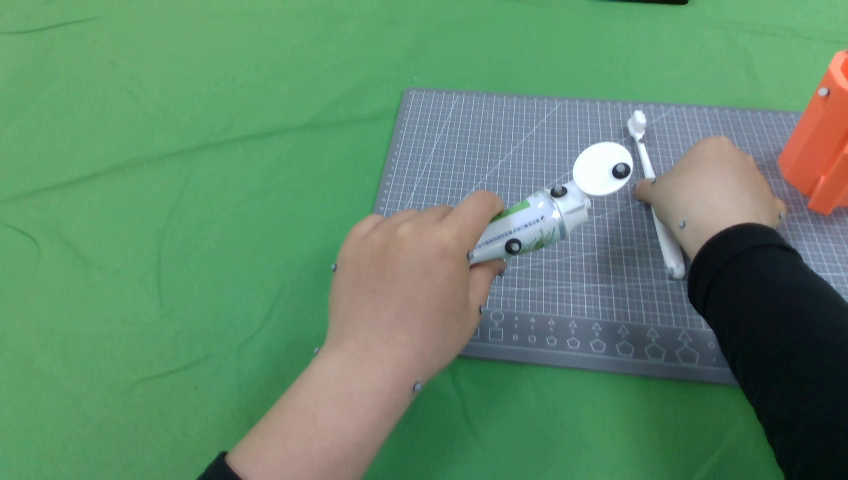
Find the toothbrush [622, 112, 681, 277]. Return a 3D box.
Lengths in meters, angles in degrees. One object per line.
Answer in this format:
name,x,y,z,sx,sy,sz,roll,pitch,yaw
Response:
toothbrush,0.188,-0.045,0.502,0.014,0.017,0.180,5,51,-4

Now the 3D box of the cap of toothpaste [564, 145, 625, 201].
cap of toothpaste,0.103,-0.039,0.362,0.037,0.011,0.037,-13,61,26

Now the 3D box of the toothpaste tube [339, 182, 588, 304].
toothpaste tube,0.027,0.007,0.381,0.165,0.055,0.034,-24,78,2

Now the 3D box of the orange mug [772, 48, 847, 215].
orange mug,0.335,-0.079,0.476,0.083,0.102,0.126,28,51,23
